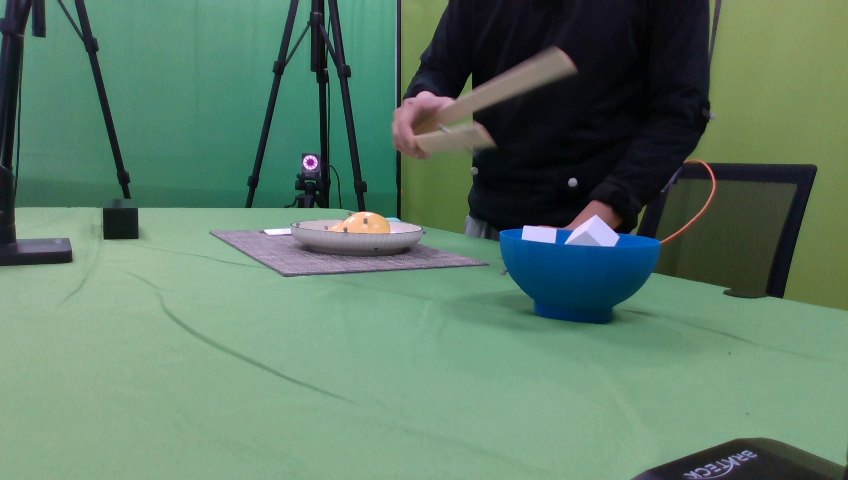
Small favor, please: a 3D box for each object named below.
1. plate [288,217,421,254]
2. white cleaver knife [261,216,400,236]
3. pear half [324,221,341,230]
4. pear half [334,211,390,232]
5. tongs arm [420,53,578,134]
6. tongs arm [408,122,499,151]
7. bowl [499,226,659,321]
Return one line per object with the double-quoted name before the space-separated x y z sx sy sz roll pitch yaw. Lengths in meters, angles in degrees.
"plate" -0.109 -0.007 0.956 0.208 0.039 0.207 2 7 0
"white cleaver knife" -0.169 -0.021 1.156 0.288 0.021 0.065 -7 20 -33
"pear half" -0.126 -0.019 1.001 0.088 0.031 0.070 8 3 2
"pear half" -0.107 -0.016 0.919 0.110 0.056 0.076 -4 4 -20
"tongs arm" 0.074 -0.173 0.751 0.028 0.028 0.386 43 -11 -16
"tongs arm" 0.031 -0.132 0.743 0.026 0.051 0.383 47 -6 -15
"bowl" 0.145 0.032 0.585 0.151 0.077 0.151 2 7 0
